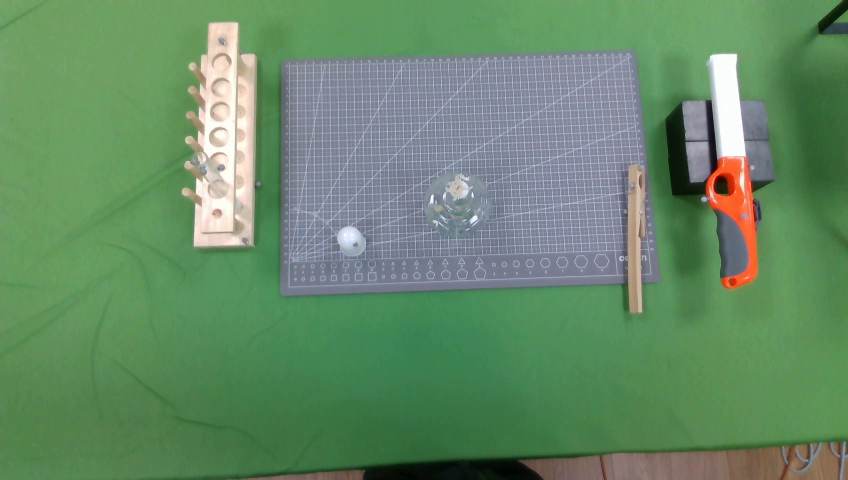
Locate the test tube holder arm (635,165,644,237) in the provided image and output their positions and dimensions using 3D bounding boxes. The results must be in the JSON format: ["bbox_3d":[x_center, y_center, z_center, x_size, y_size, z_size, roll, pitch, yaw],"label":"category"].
[{"bbox_3d":[0.256,-0.047,0.730,0.010,0.015,0.087,13,76,-29],"label":"test tube holder arm"}]

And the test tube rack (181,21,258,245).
[{"bbox_3d":[-0.240,-0.121,0.703,0.067,0.085,0.241,-1,79,-1],"label":"test tube rack"}]

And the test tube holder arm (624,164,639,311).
[{"bbox_3d":[0.247,-0.004,0.718,0.013,0.015,0.177,13,76,-29],"label":"test tube holder arm"}]

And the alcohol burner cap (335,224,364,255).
[{"bbox_3d":[-0.088,-0.003,0.703,0.034,0.048,0.033,0,78,-1],"label":"alcohol burner cap"}]

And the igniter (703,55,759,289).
[{"bbox_3d":[0.347,-0.081,0.691,0.057,0.025,0.275,0,78,5],"label":"igniter"}]

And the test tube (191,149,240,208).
[{"bbox_3d":[-0.218,-0.061,0.642,0.017,0.150,0.017,1,76,-4],"label":"test tube"}]

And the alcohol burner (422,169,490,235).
[{"bbox_3d":[0.036,-0.046,0.677,0.078,0.119,0.077,0,80,0],"label":"alcohol burner"}]
